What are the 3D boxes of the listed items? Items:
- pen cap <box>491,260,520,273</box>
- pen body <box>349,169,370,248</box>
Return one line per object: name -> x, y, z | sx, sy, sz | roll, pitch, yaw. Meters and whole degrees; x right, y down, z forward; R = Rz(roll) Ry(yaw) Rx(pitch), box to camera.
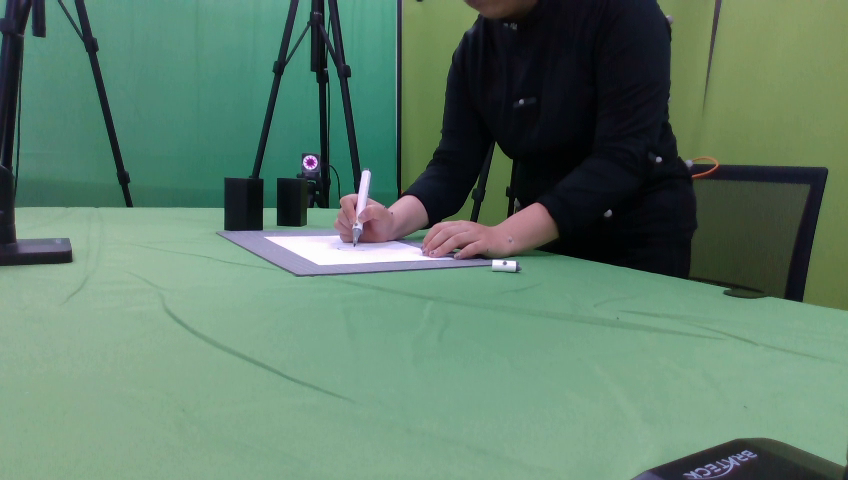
pen cap -> 0.110, 0.036, 0.813 | 0.038, 0.017, 0.017 | 3, 7, 7
pen body -> -0.107, -0.052, 1.001 | 0.017, 0.144, 0.017 | 7, -24, 3
